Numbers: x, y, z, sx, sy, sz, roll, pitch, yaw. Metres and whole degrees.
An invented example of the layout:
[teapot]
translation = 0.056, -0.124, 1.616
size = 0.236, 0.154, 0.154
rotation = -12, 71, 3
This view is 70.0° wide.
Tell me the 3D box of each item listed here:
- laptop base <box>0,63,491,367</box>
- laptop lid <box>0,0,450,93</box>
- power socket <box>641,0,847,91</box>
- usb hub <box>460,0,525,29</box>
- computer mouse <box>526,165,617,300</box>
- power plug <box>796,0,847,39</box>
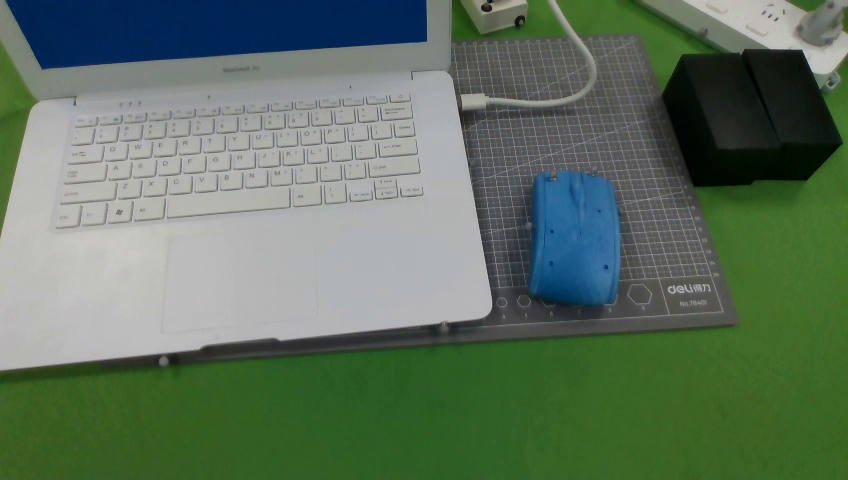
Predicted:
[laptop base]
translation = -0.139, -0.032, 0.469
size = 0.355, 0.023, 0.233
rotation = -6, 65, -4
[laptop lid]
translation = -0.155, -0.215, 0.435
size = 0.357, 0.244, 0.013
rotation = -6, 48, -3
[power socket]
translation = 0.293, -0.220, 0.577
size = 0.225, 0.033, 0.072
rotation = 40, 66, 19
[usb hub]
translation = 0.050, -0.262, 0.597
size = 0.049, 0.025, 0.124
rotation = -18, 63, -12
[computer mouse]
translation = 0.110, -0.011, 0.450
size = 0.063, 0.041, 0.116
rotation = 7, 57, 5
[power plug]
translation = 0.367, -0.205, 0.544
size = 0.072, 0.053, 0.035
rotation = -33, 65, -16
